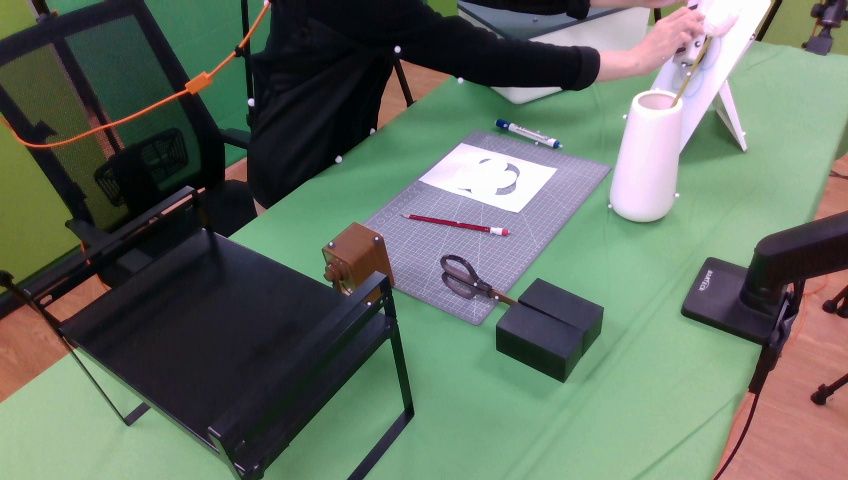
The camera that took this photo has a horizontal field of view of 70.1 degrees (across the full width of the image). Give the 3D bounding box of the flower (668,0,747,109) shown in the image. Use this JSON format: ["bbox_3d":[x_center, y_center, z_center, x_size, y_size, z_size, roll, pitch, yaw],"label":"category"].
[{"bbox_3d":[0.355,-0.187,0.879,0.038,0.362,0.044,30,48,14],"label":"flower"}]

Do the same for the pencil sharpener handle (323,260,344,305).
[{"bbox_3d":[-0.131,0.062,0.839,0.035,0.068,0.031,29,55,28],"label":"pencil sharpener handle"}]

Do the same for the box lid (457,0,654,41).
[{"bbox_3d":[0.285,-0.522,1.323,0.373,0.015,0.261,-21,43,-17],"label":"box lid"}]

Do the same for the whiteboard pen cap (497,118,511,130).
[{"bbox_3d":[0.165,-0.235,1.227,0.033,0.018,0.018,31,53,30],"label":"whiteboard pen cap"}]

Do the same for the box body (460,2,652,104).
[{"bbox_3d":[0.291,-0.465,1.371,0.365,0.161,0.252,-22,42,-16],"label":"box body"}]

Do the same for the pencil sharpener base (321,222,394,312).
[{"bbox_3d":[-0.096,0.041,0.873,0.061,0.107,0.077,25,54,32],"label":"pencil sharpener base"}]

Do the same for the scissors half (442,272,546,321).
[{"bbox_3d":[0.094,0.080,0.838,0.173,0.040,0.013,19,46,39],"label":"scissors half"}]

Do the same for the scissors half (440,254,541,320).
[{"bbox_3d":[0.092,0.065,0.825,0.174,0.040,0.013,32,58,25],"label":"scissors half"}]

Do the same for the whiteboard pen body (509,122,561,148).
[{"bbox_3d":[0.209,-0.212,1.196,0.139,0.017,0.017,31,53,33],"label":"whiteboard pen body"}]

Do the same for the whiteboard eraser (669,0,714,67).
[{"bbox_3d":[0.467,-0.358,1.049,0.042,0.112,0.055,11,5,-17],"label":"whiteboard eraser"}]

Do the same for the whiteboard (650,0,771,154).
[{"bbox_3d":[0.543,-0.298,1.076,0.144,0.305,0.216,12,40,-7],"label":"whiteboard"}]

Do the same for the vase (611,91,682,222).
[{"bbox_3d":[0.348,-0.125,0.935,0.098,0.201,0.097,-3,40,3],"label":"vase"}]

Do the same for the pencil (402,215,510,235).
[{"bbox_3d":[0.050,-0.027,1.008,0.193,0.012,0.012,9,43,22],"label":"pencil"}]
